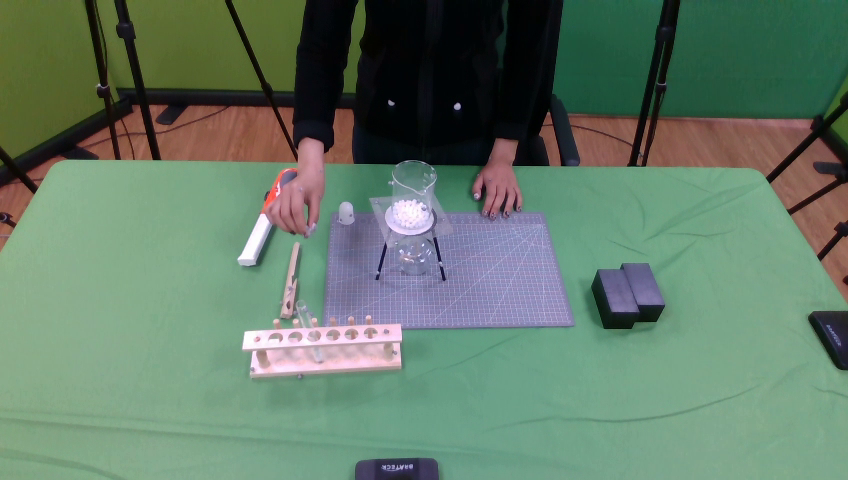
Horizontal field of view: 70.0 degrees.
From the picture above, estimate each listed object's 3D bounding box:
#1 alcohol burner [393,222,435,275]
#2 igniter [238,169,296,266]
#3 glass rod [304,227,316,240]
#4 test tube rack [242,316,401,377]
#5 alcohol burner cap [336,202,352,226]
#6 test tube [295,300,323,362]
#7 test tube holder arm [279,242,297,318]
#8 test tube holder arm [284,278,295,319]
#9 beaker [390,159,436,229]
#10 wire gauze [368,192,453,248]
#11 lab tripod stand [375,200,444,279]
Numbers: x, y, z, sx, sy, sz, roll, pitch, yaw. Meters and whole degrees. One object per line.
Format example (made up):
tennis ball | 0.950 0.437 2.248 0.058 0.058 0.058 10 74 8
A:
alcohol burner | -0.018 0.009 1.122 0.078 0.119 0.077 3 47 -3
igniter | -0.313 -0.055 1.224 0.057 0.025 0.275 1 45 10
glass rod | -0.199 -0.010 1.066 0.008 0.199 0.008 1 85 -6
test tube rack | -0.161 0.166 0.983 0.242 0.085 0.066 -2 46 -6
alcohol burner cap | -0.161 -0.056 1.223 0.034 0.048 0.033 3 46 -2
test tube | -0.176 0.143 0.935 0.017 0.151 0.017 -2 46 2
test tube holder arm | -0.249 0.069 1.114 0.013 0.015 0.177 26 38 -28
test tube holder arm | -0.242 0.103 1.085 0.010 0.015 0.087 26 38 -28
beaker | -0.020 -0.073 1.029 0.074 0.101 0.083 -10 48 -16
wire gauze | -0.025 -0.041 1.065 0.122 0.011 0.124 -10 46 -18
lab tripod stand | -0.023 0.004 1.114 0.148 0.132 0.147 4 45 -3
